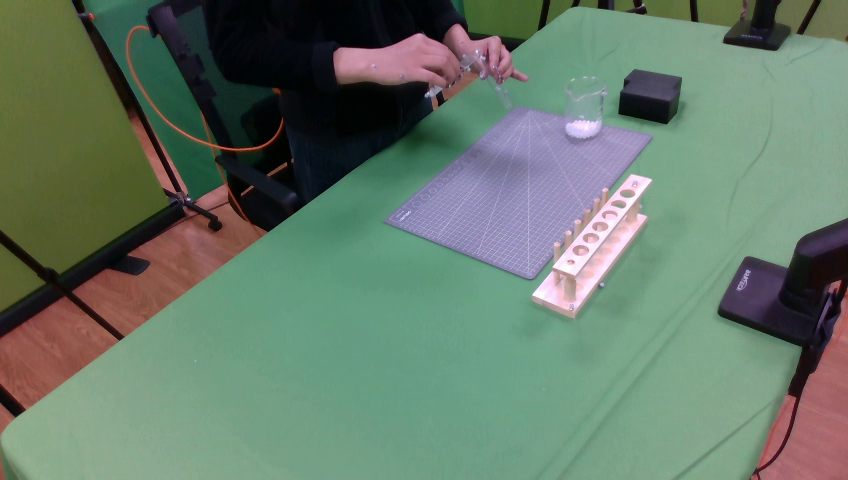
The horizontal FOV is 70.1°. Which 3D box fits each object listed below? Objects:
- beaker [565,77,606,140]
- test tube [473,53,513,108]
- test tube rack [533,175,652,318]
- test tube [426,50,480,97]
[{"bbox_3d":[0.304,-0.247,1.153,0.073,0.101,0.084,15,47,27],"label":"beaker"},{"bbox_3d":[0.126,-0.282,1.082,0.017,0.152,0.017,-14,60,26],"label":"test tube"},{"bbox_3d":[0.251,-0.001,0.889,0.066,0.085,0.243,22,49,33],"label":"test tube rack"},{"bbox_3d":[0.049,-0.270,0.980,0.017,0.017,0.150,19,48,29],"label":"test tube"}]
